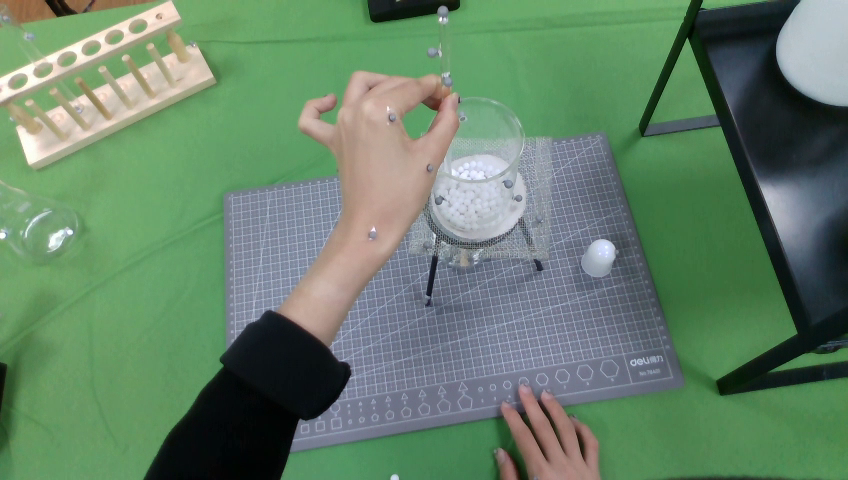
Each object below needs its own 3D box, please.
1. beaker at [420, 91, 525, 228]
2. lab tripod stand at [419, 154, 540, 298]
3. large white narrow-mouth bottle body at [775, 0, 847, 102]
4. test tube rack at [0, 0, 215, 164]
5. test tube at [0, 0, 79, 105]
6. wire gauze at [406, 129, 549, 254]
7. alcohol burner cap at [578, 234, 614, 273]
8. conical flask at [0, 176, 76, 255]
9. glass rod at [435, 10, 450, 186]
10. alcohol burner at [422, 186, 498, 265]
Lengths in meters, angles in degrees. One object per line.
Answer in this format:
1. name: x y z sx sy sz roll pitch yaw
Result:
1. beaker: 0.037 -0.058 0.492 0.084 0.101 0.073 -31 69 -9
2. lab tripod stand: 0.049 -0.013 0.596 0.148 0.132 0.147 -1 66 2
3. large white narrow-mouth bottle body: 0.338 -0.191 0.427 0.102 0.196 0.101 -2 67 5
4. test tube rack: -0.389 -0.191 0.727 0.242 0.086 0.066 -29 68 -8
5. test tube: -0.436 -0.207 0.682 0.017 0.151 0.017 -2 60 3
6. wire gauze: 0.050 -0.045 0.537 0.121 0.011 0.124 4 66 3
7. alcohol burner cap: 0.180 0.011 0.627 0.034 0.048 0.033 -1 67 3
8. conical flask: -0.441 -0.039 0.646 0.075 0.123 0.075 -1 67 4
9. glass rod: 0.014 -0.090 0.443 0.008 0.201 0.008 -1 66 3
10. alcohol burner: 0.036 -0.021 0.611 0.078 0.120 0.077 -1 65 2
